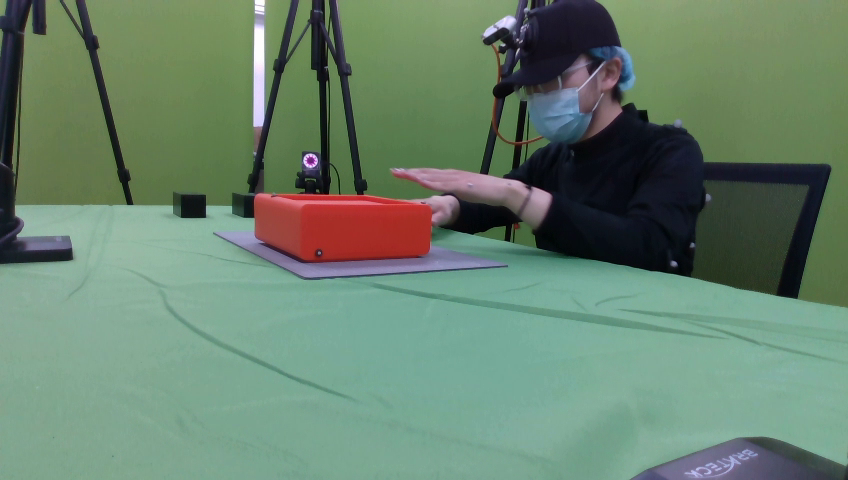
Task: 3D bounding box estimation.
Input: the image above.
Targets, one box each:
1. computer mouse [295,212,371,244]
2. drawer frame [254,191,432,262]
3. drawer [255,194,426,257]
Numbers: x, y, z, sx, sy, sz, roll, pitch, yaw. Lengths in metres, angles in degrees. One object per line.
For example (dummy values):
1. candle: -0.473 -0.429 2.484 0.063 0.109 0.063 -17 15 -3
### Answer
1. computer mouse: -0.143 -0.019 0.948 0.117 0.041 0.062 -5 16 -2
2. drawer frame: -0.128 -0.027 0.911 0.203 0.082 0.212 -1 9 -32
3. drawer: -0.130 -0.026 0.912 0.195 0.073 0.210 -1 9 -31
